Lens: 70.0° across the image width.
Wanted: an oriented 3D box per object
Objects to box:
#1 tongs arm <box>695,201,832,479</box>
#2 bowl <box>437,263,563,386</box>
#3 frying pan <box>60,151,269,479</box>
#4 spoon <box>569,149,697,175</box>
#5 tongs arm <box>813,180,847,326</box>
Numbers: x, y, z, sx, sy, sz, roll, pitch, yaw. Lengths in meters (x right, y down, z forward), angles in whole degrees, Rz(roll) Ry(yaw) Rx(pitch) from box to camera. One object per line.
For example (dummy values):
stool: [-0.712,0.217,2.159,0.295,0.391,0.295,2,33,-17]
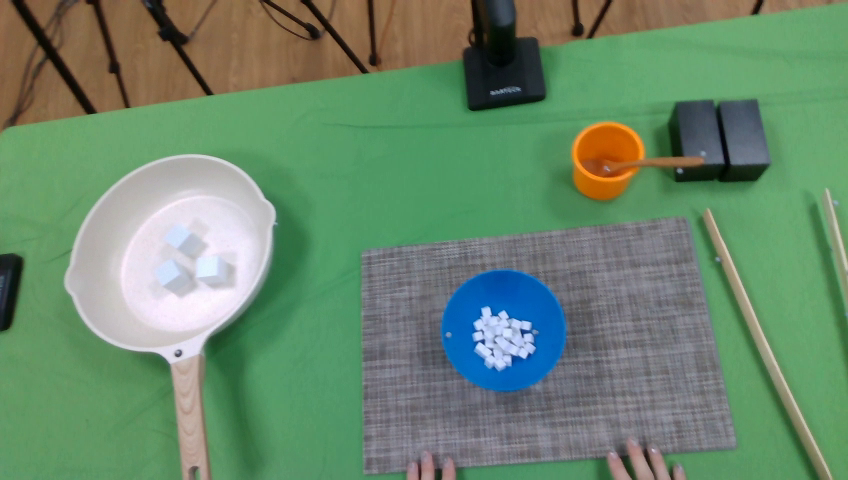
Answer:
tongs arm: [0.419,0.122,0.742,0.028,0.028,0.384,-16,68,0]
bowl: [0.095,0.112,0.759,0.151,0.077,0.150,-3,69,7]
frying pan: [-0.327,0.100,0.813,0.307,0.104,0.483,-19,60,2]
spoon: [0.262,-0.104,0.782,0.022,0.192,0.041,41,73,-24]
tongs arm: [0.498,0.108,0.730,0.050,0.027,0.382,-5,70,8]
